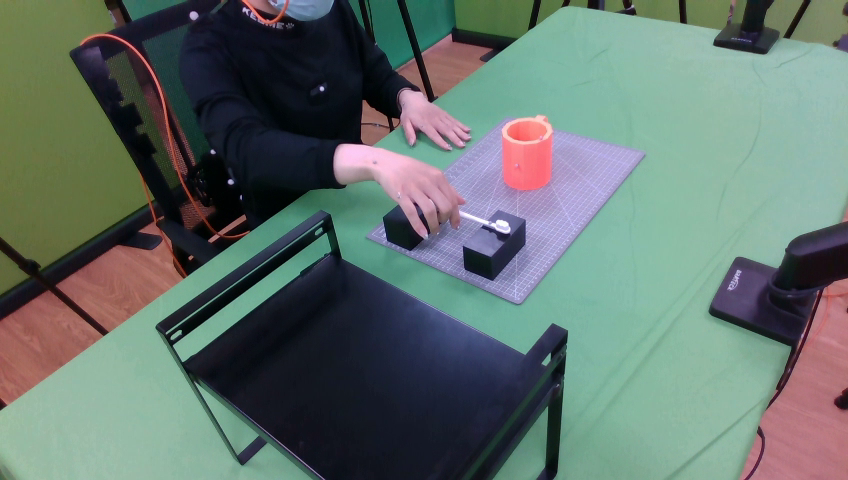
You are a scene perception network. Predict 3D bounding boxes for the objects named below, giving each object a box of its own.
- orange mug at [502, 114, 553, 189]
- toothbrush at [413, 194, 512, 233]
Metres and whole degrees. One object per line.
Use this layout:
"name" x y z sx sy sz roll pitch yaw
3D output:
"orange mug" 0.190 -0.164 1.071 0.083 0.101 0.126 16 50 25
"toothbrush" 0.055 -0.044 0.936 0.180 0.017 0.014 21 60 30
